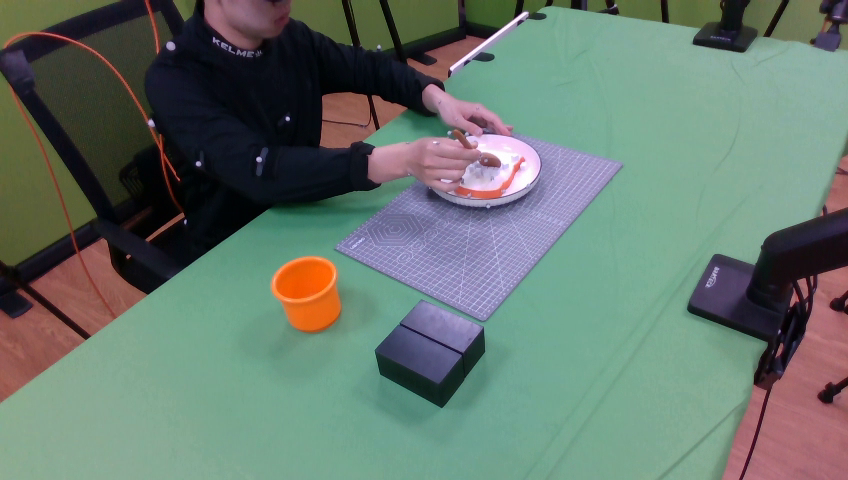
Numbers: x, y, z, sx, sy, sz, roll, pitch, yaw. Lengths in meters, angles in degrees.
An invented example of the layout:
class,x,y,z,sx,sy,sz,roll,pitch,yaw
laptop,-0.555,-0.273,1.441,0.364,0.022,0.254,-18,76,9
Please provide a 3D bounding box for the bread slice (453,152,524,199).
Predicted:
class,x,y,z,sx,sy,sz,roll,pitch,yaw
bread slice,0.112,-0.118,1.079,0.104,0.019,0.131,11,42,21

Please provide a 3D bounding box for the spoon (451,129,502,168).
class,x,y,z,sx,sy,sz,roll,pitch,yaw
spoon,0.084,-0.146,0.978,0.041,0.021,0.195,6,-3,24

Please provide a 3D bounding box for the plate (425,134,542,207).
class,x,y,z,sx,sy,sz,roll,pitch,yaw
plate,0.106,-0.121,1.079,0.209,0.038,0.208,-4,41,4
